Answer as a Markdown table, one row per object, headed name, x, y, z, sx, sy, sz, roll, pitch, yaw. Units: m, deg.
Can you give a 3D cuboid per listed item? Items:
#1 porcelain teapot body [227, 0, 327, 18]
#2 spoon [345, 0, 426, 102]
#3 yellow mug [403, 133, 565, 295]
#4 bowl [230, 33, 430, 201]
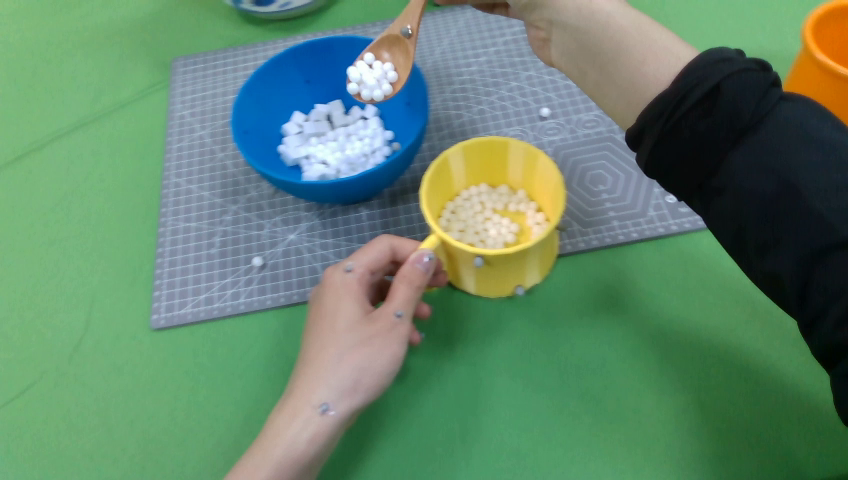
| name | x | y | z | sx | sy | sz | roll | pitch | yaw |
| --- | --- | --- | --- | --- | --- | --- | --- | --- | --- |
| porcelain teapot body | -0.187 | -0.331 | 0.561 | 0.205 | 0.227 | 0.144 | -6 | 59 | 4 |
| spoon | 0.007 | -0.177 | 0.410 | 0.041 | 0.022 | 0.194 | 35 | 98 | 18 |
| yellow mug | 0.037 | -0.009 | 0.434 | 0.131 | 0.064 | 0.099 | -39 | 63 | -15 |
| bowl | -0.067 | -0.083 | 0.482 | 0.151 | 0.077 | 0.150 | -3 | 58 | 4 |
